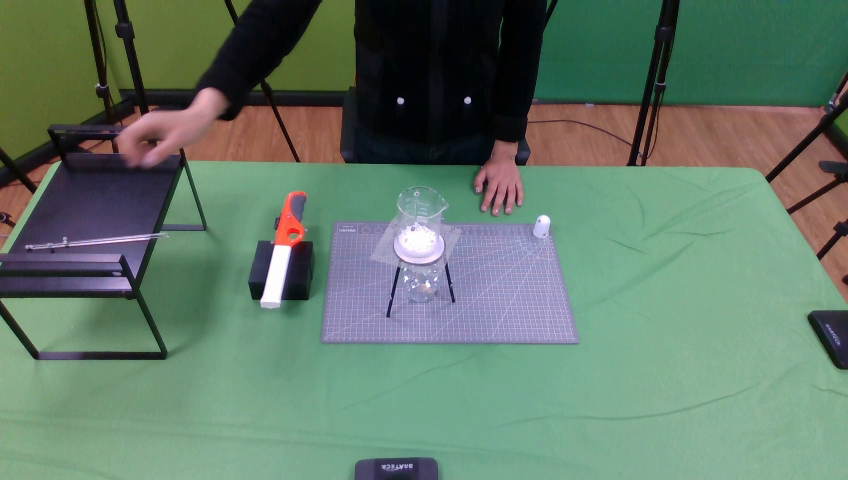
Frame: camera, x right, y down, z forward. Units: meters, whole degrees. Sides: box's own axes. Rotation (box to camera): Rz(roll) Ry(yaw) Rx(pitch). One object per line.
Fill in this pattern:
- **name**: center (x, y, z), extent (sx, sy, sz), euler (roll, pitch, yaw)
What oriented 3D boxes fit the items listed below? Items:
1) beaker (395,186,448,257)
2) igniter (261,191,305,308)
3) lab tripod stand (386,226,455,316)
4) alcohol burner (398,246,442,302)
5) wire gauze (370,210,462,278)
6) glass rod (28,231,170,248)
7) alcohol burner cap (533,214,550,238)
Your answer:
- **beaker**: center (-0.006, -0.027, 0.984), extent (0.084, 0.101, 0.073), euler (1, 48, -4)
- **igniter**: center (-0.254, 0.006, 1.104), extent (0.057, 0.025, 0.275), euler (5, 47, -4)
- **lab tripod stand**: center (-0.013, 0.054, 1.064), extent (0.148, 0.132, 0.147), euler (2, 48, -2)
- **alcohol burner**: center (-0.006, 0.055, 1.078), extent (0.078, 0.119, 0.077), euler (3, 44, -3)
- **wire gauze**: center (-0.012, 0.007, 1.019), extent (0.121, 0.011, 0.124), euler (16, 51, 13)
- **glass rod**: center (-0.491, -0.001, 0.919), extent (0.200, 0.008, 0.008), euler (-6, 47, -10)
- **alcohol burner cap**: center (0.241, -0.030, 1.228), extent (0.034, 0.048, 0.033), euler (1, 46, -1)
